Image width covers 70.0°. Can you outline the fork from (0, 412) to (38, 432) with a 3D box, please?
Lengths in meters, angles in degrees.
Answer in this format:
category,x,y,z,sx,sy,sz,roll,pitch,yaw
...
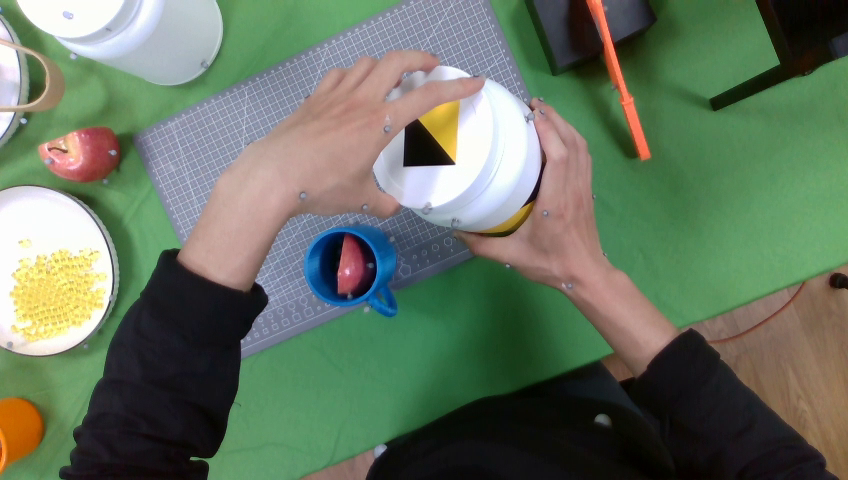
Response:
category,x,y,z,sx,sy,sz,roll,pitch,yaw
fork,-0.573,0.239,0.706,0.208,0.018,0.028,-9,93,-38

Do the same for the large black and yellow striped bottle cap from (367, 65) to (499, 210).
category,x,y,z,sx,sy,sz,roll,pitch,yaw
large black and yellow striped bottle cap,0.004,-0.081,0.480,0.114,0.019,0.114,-4,82,31

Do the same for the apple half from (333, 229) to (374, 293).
category,x,y,z,sx,sy,sz,roll,pitch,yaw
apple half,-0.070,0.024,0.663,0.032,0.081,0.081,10,95,12

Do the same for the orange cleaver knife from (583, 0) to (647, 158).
category,x,y,z,sx,sy,sz,roll,pitch,yaw
orange cleaver knife,0.198,-0.186,0.644,0.012,0.076,0.213,-22,119,15

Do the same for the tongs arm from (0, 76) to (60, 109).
category,x,y,z,sx,sy,sz,roll,pitch,yaw
tongs arm,-0.608,-0.174,0.700,0.384,0.026,0.051,5,92,6

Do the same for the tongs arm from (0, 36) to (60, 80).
category,x,y,z,sx,sy,sz,roll,pitch,yaw
tongs arm,-0.594,-0.257,0.694,0.387,0.028,0.028,19,89,5

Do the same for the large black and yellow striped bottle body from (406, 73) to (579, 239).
category,x,y,z,sx,sy,sz,roll,pitch,yaw
large black and yellow striped bottle body,0.050,-0.072,0.551,0.130,0.185,0.130,-4,82,33

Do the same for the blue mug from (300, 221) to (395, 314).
category,x,y,z,sx,sy,sz,roll,pitch,yaw
blue mug,-0.072,0.034,0.669,0.082,0.106,0.116,-39,91,6

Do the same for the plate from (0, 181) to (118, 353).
category,x,y,z,sx,sy,sz,roll,pitch,yaw
plate,-0.469,0.032,0.738,0.209,0.038,0.209,0,95,5

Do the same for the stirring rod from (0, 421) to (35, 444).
category,x,y,z,sx,sy,sz,roll,pitch,yaw
stirring rod,-0.558,0.254,0.709,0.177,0.006,0.014,-17,81,-34

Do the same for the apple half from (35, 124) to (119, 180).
category,x,y,z,sx,sy,sz,roll,pitch,yaw
apple half,-0.396,-0.098,0.704,0.081,0.074,0.053,-20,96,2

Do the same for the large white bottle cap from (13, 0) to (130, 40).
category,x,y,z,sx,sy,sz,roll,pitch,yaw
large white bottle cap,-0.319,-0.240,0.545,0.115,0.018,0.115,0,94,5

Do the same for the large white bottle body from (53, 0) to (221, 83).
category,x,y,z,sx,sy,sz,roll,pitch,yaw
large white bottle body,-0.310,-0.246,0.629,0.130,0.184,0.130,0,93,5

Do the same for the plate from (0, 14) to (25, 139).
category,x,y,z,sx,sy,sz,roll,pitch,yaw
plate,-0.574,-0.199,0.728,0.207,0.039,0.208,0,95,5
